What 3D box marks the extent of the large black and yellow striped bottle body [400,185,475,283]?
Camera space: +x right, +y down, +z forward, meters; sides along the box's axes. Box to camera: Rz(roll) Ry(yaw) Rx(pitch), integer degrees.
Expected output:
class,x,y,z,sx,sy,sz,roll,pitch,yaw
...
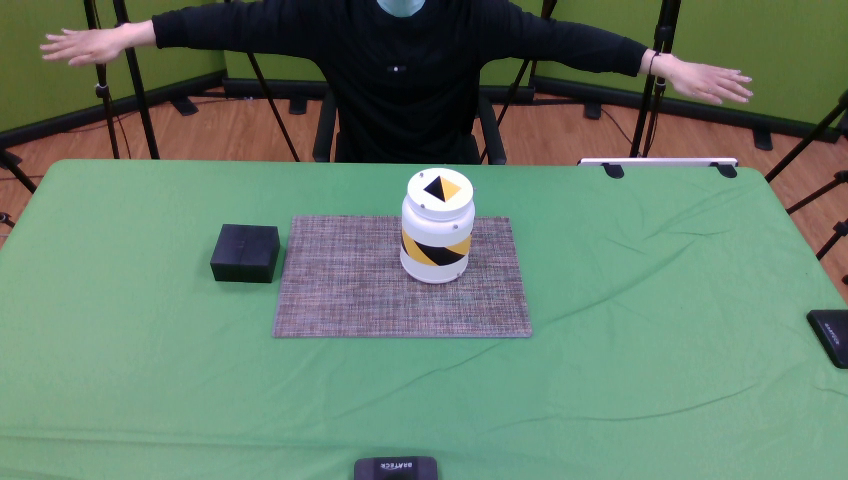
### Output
class,x,y,z,sx,sy,sz,roll,pitch,yaw
large black and yellow striped bottle body,0.024,-0.025,1.102,0.131,0.185,0.130,2,46,-2

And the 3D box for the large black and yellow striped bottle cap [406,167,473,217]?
class,x,y,z,sx,sy,sz,roll,pitch,yaw
large black and yellow striped bottle cap,0.027,-0.084,1.043,0.115,0.019,0.114,3,46,-3
